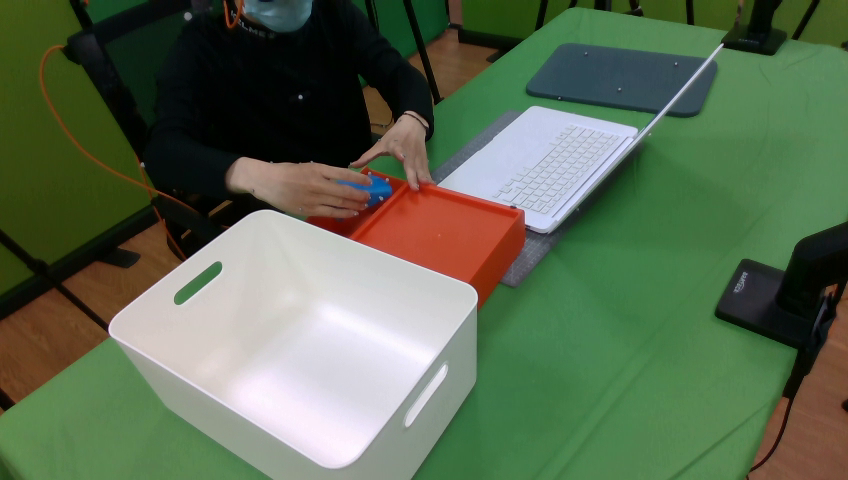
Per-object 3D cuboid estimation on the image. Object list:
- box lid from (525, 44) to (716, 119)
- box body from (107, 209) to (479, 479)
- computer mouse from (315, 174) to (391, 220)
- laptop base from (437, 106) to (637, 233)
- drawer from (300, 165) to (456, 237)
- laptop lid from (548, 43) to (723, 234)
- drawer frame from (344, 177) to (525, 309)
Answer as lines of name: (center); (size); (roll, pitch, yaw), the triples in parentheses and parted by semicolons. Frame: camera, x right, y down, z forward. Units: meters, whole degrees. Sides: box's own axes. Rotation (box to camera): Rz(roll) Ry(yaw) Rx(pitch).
box lid: (0.432, -0.360, 1.341); (0.369, 0.015, 0.263); (16, 45, 24)
box body: (-0.140, 0.136, 0.725); (0.361, 0.161, 0.254); (19, 47, 28)
computer mouse: (-0.112, -0.075, 0.950); (0.118, 0.041, 0.062); (-25, 40, -28)
laptop base: (0.210, -0.142, 1.111); (0.233, 0.023, 0.355); (21, 48, 33)
drawer: (-0.065, -0.018, 0.955); (0.210, 0.073, 0.195); (20, 48, 27)
laptop lid: (0.336, -0.160, 0.956); (0.013, 0.241, 0.358); (43, 54, 8)
drawer frame: (0.014, 0.008, 0.911); (0.212, 0.083, 0.202); (18, 47, 26)
